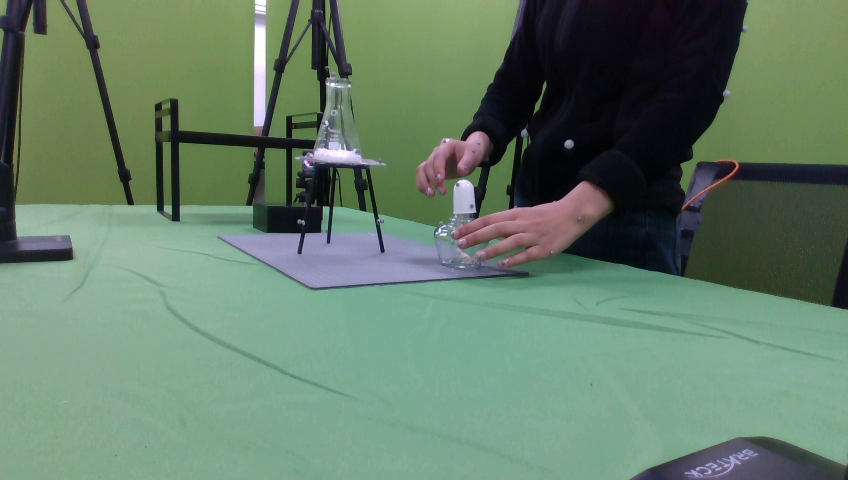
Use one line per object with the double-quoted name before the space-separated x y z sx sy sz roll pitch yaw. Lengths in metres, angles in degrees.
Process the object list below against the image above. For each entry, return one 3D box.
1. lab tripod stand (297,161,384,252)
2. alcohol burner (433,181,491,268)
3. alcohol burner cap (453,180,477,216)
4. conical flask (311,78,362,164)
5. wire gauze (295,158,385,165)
"lab tripod stand" -0.130 -0.051 0.903 0.148 0.131 0.148 3 9 0
"alcohol burner" 0.052 -0.021 0.815 0.078 0.119 0.078 4 6 0
"alcohol burner cap" 0.054 -0.057 0.811 0.034 0.048 0.034 -3 6 1
"conical flask" -0.128 -0.174 0.890 0.075 0.122 0.075 3 8 0
"wire gauze" -0.128 -0.117 0.901 0.125 0.011 0.121 -2 8 -14
